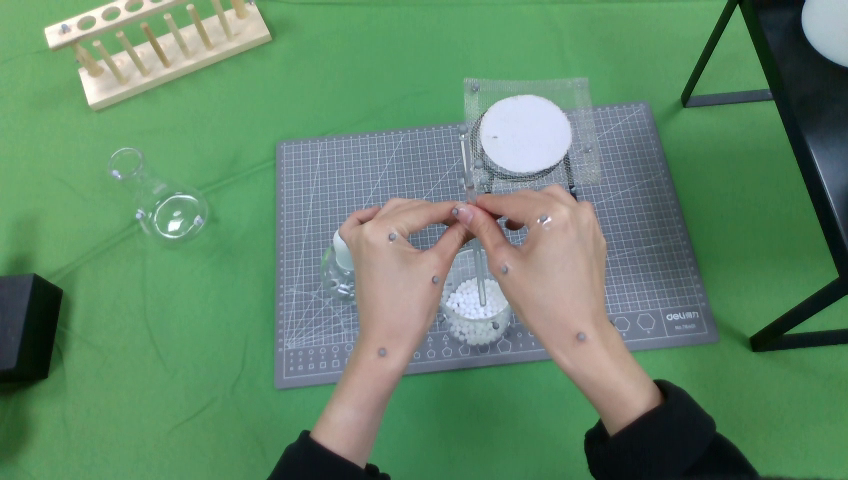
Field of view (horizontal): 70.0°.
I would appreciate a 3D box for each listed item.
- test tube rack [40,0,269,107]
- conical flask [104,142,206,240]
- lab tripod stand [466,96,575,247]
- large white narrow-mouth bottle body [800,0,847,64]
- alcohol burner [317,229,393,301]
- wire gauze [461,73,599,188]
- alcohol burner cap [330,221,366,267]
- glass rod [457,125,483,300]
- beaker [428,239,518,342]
[{"bbox_3d":[-0.328,-0.261,0.756,0.242,0.086,0.066,-25,68,-8],"label":"test tube rack"},{"bbox_3d":[-0.290,-0.056,0.644,0.075,0.123,0.075,-1,66,3],"label":"conical flask"},{"bbox_3d":[0.092,-0.073,0.622,0.148,0.132,0.147,-1,65,2],"label":"lab tripod stand"},{"bbox_3d":[0.375,-0.229,0.449,0.102,0.196,0.101,-1,65,2],"label":"large white narrow-mouth bottle body"},{"bbox_3d":[-0.071,0.017,0.603,0.078,0.120,0.077,0,65,1],"label":"alcohol burner"},{"bbox_3d":[0.096,-0.106,0.562,0.121,0.011,0.124,-1,67,1],"label":"wire gauze"},{"bbox_3d":[-0.073,0.001,0.570,0.034,0.048,0.033,0,59,0],"label":"alcohol burner cap"},{"bbox_3d":[0.036,-0.009,0.444,0.008,0.201,0.008,-4,54,6],"label":"glass rod"},{"bbox_3d":[0.047,0.055,0.588,0.084,0.101,0.073,-18,66,-4],"label":"beaker"}]
